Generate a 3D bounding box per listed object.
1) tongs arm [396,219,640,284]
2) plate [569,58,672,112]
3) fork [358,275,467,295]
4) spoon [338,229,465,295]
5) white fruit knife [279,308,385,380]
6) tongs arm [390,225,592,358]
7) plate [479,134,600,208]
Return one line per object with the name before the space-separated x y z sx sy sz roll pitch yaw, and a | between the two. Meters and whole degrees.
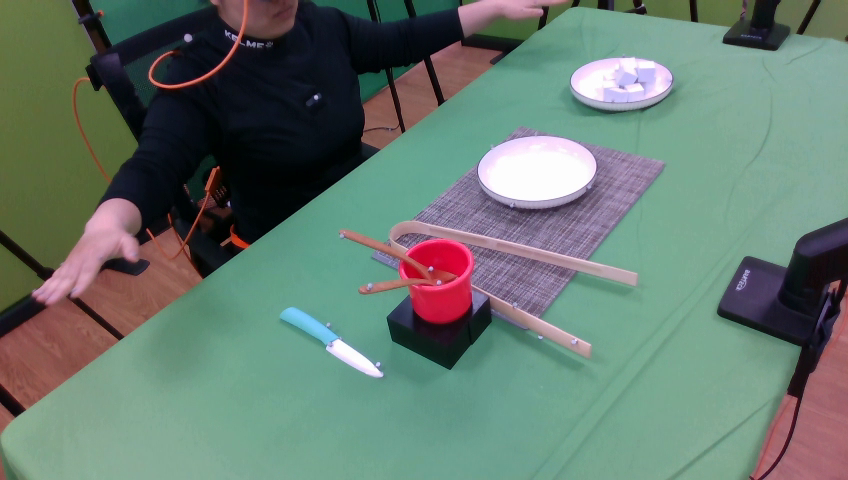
tongs arm | 0.131 0.015 0.926 0.385 0.028 0.028 13 50 25
plate | 0.411 -0.323 1.274 0.209 0.038 0.208 -5 41 5
fork | -0.009 0.056 0.739 0.028 0.018 0.209 48 23 26
spoon | -0.025 0.026 0.776 0.021 0.195 0.041 -41 34 31
white fruit knife | -0.130 0.143 0.845 0.206 0.016 0.027 25 79 32
tongs arm | 0.082 0.063 0.879 0.381 0.026 0.051 25 52 34
plate | 0.202 -0.117 1.065 0.207 0.039 0.206 -5 40 5
